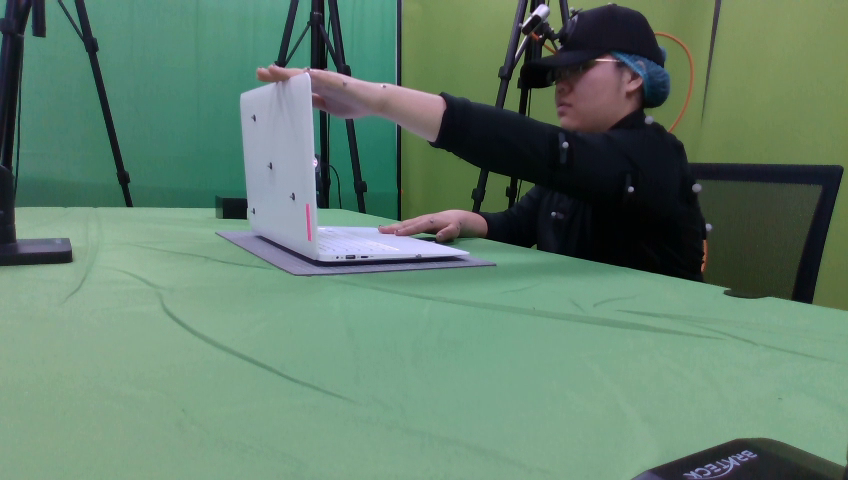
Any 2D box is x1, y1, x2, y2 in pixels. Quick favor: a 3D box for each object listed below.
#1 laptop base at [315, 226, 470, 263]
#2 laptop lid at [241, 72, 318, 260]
[{"bbox_3d":[-0.117,0.005,0.970,0.237,0.023,0.352,2,6,-30],"label":"laptop base"},{"bbox_3d":[-0.223,-0.110,0.891,0.013,0.241,0.355,-6,12,-29],"label":"laptop lid"}]
